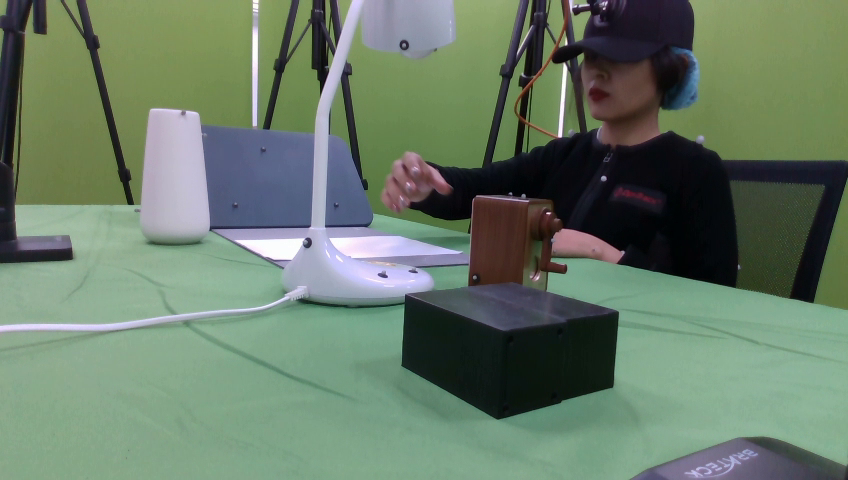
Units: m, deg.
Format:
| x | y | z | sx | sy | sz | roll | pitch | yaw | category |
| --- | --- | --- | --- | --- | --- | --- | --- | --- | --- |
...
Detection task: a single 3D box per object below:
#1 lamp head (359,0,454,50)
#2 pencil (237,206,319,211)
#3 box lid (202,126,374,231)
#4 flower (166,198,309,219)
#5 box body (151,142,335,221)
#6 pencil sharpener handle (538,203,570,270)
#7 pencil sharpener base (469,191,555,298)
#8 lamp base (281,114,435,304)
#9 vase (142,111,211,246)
| x | y | z | sx | sy | sz | roll | pitch | yaw | category |
| --- | --- | --- | --- | --- | --- | --- | --- | --- | --- |
| -0.024 | -0.283 | 0.674 | 0.112 | 0.123 | 0.112 | -3 | 38 | 3 | lamp head |
| -0.346 | -0.075 | 1.434 | 0.194 | 0.012 | 0.012 | 0 | 7 | -1 | pencil |
| -0.296 | -0.128 | 1.234 | 0.373 | 0.262 | 0.015 | -2 | -35 | -32 | box lid |
| -0.400 | -0.060 | 1.358 | 0.044 | 0.038 | 0.364 | -37 | -23 | 31 | flower |
| -0.412 | -0.135 | 1.379 | 0.366 | 0.160 | 0.253 | -2 | 9 | -31 | box body |
| 0.137 | -0.003 | 0.619 | 0.030 | 0.067 | 0.036 | 8 | 5 | 38 | pencil sharpener handle |
| 0.097 | 0.003 | 0.652 | 0.076 | 0.107 | 0.061 | 8 | 9 | 38 | pencil sharpener base |
| -0.071 | -0.035 | 0.614 | 0.160 | 0.180 | 0.180 | 6 | 10 | 27 | lamp base |
| -0.378 | -0.093 | 0.920 | 0.098 | 0.200 | 0.098 | 2 | 9 | 0 | vase |
